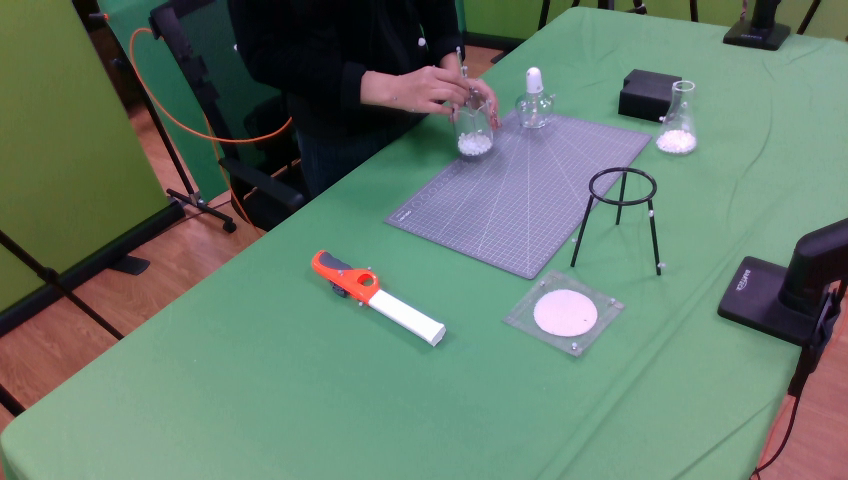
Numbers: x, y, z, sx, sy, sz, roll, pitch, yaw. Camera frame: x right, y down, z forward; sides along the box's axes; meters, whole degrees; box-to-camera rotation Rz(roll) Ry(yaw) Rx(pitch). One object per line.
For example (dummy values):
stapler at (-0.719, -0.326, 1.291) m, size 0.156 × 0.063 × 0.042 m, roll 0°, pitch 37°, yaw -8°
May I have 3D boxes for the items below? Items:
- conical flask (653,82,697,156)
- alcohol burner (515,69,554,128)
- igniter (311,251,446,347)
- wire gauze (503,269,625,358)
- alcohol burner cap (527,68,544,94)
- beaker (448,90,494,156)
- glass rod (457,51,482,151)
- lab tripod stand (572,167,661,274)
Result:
conical flask at (0.454, -0.218, 1.077) m, size 0.075 × 0.122 × 0.075 m, roll -5°, pitch 40°, yaw 5°
alcohol burner at (0.221, -0.285, 1.203) m, size 0.078 × 0.119 × 0.077 m, roll -4°, pitch 39°, yaw 4°
igniter at (-0.078, 0.081, 0.899) m, size 0.274 × 0.025 × 0.057 m, roll 27°, pitch 62°, yaw 35°
wire gauze at (0.194, 0.100, 0.840) m, size 0.120 × 0.011 × 0.125 m, roll 27°, pitch 54°, yaw 36°
alcohol burner cap at (0.216, -0.312, 1.179) m, size 0.034 × 0.048 × 0.033 m, roll -9°, pitch 40°, yaw 9°
beaker at (0.090, -0.210, 1.109) m, size 0.074 × 0.101 × 0.083 m, roll -14°, pitch 40°, yaw 1°
glass rod at (0.082, -0.238, 1.060) m, size 0.008 × 0.201 × 0.008 m, roll -10°, pitch 41°, yaw 10°
lab tripod stand at (0.284, -0.030, 0.879) m, size 0.148 × 0.132 × 0.147 m, roll -7°, pitch 38°, yaw 6°
